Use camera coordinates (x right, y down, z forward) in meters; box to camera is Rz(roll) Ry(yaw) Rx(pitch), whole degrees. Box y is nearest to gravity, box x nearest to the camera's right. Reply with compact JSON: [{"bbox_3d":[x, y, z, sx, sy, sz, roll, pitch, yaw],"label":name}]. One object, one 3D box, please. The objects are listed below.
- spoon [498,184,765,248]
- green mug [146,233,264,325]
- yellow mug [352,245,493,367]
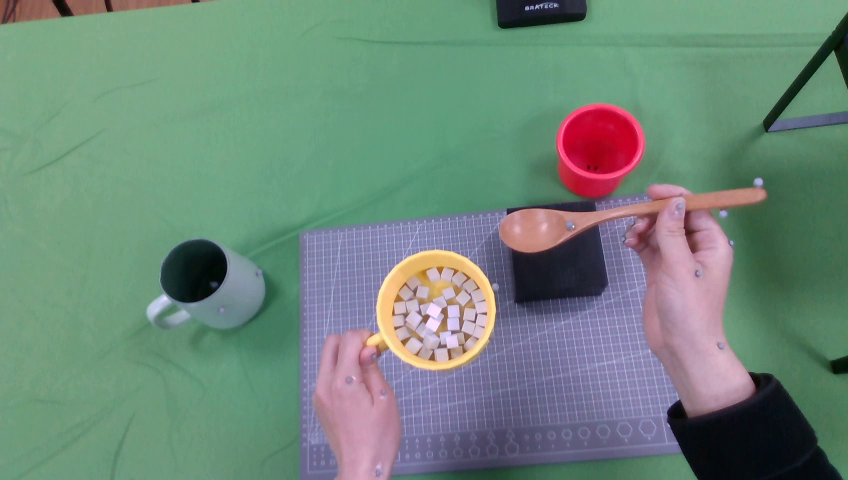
[{"bbox_3d":[0.152,-0.022,0.462,0.193,0.022,0.041,-9,57,23],"label":"spoon"},{"bbox_3d":[-0.258,0.055,0.700,0.125,0.105,0.092,-37,72,-7],"label":"green mug"},{"bbox_3d":[-0.003,0.067,0.526,0.131,0.064,0.099,-29,78,0],"label":"yellow mug"}]
